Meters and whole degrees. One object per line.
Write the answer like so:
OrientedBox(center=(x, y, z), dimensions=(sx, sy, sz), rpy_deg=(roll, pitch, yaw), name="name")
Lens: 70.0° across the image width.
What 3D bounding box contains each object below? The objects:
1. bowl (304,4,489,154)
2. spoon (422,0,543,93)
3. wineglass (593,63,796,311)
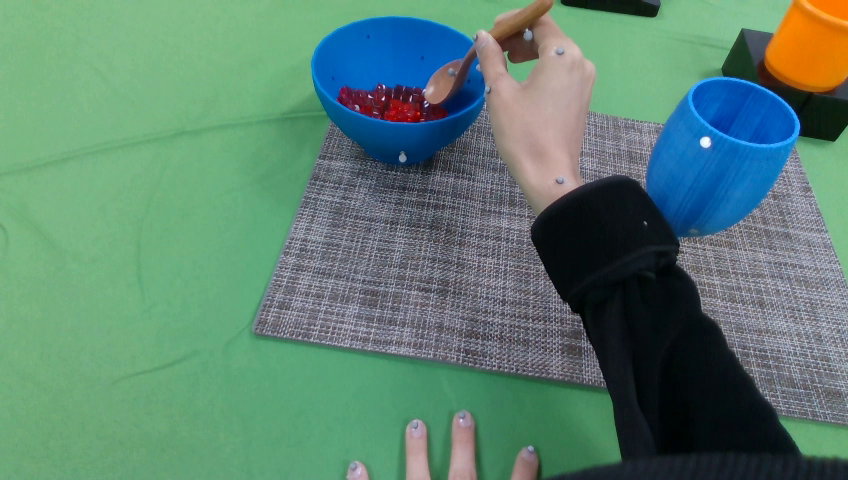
OrientedBox(center=(-0.024, -0.129, 0.526), dimensions=(0.151, 0.077, 0.150), rpy_deg=(3, 52, -3), name="bowl")
OrientedBox(center=(0.038, -0.148, 0.455), dimensions=(0.022, 0.193, 0.041), rpy_deg=(24, 81, -15), name="spoon")
OrientedBox(center=(0.169, -0.026, 0.403), dimensions=(0.074, 0.173, 0.073), rpy_deg=(3, 51, -3), name="wineglass")
